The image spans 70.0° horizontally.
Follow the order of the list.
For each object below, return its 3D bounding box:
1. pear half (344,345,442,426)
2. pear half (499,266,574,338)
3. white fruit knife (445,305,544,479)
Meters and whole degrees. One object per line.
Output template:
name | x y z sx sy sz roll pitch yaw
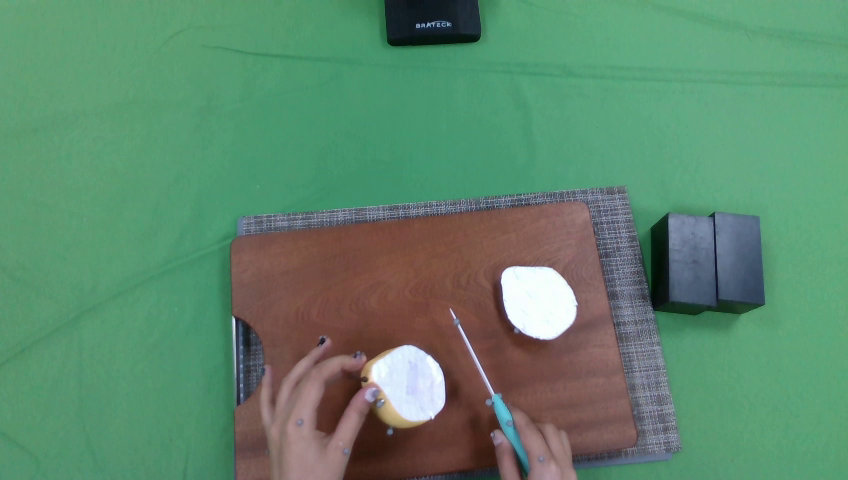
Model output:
pear half | -0.039 0.138 0.575 0.111 0.056 0.075 25 46 -39
pear half | 0.117 0.062 0.635 0.070 0.031 0.087 -46 65 2
white fruit knife | 0.067 0.155 0.584 0.016 0.027 0.206 -26 82 -10
